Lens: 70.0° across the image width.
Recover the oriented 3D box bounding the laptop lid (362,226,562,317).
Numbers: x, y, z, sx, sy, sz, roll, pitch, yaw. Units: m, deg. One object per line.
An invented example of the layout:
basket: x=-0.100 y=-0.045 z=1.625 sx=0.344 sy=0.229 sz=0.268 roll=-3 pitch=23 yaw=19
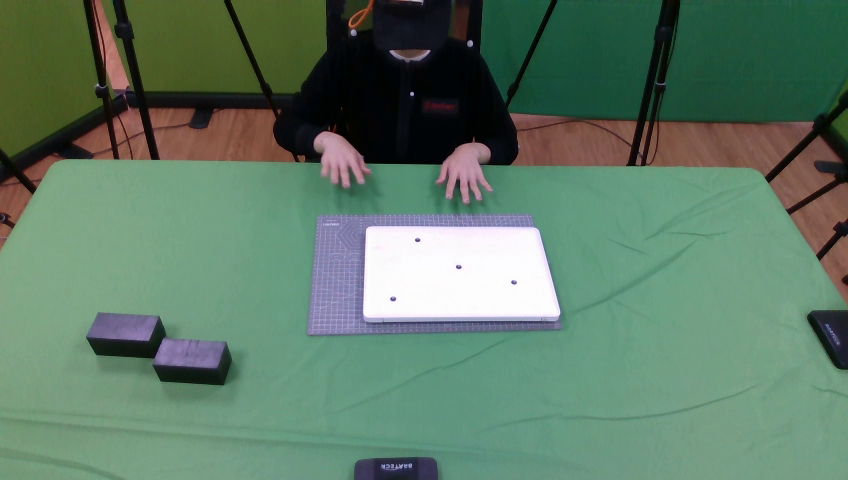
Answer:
laptop lid: x=0.064 y=0.053 z=1.136 sx=0.357 sy=0.013 sz=0.240 roll=1 pitch=44 yaw=-3

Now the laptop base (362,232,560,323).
laptop base: x=0.064 y=0.063 z=1.143 sx=0.355 sy=0.023 sz=0.234 roll=0 pitch=42 yaw=-4
